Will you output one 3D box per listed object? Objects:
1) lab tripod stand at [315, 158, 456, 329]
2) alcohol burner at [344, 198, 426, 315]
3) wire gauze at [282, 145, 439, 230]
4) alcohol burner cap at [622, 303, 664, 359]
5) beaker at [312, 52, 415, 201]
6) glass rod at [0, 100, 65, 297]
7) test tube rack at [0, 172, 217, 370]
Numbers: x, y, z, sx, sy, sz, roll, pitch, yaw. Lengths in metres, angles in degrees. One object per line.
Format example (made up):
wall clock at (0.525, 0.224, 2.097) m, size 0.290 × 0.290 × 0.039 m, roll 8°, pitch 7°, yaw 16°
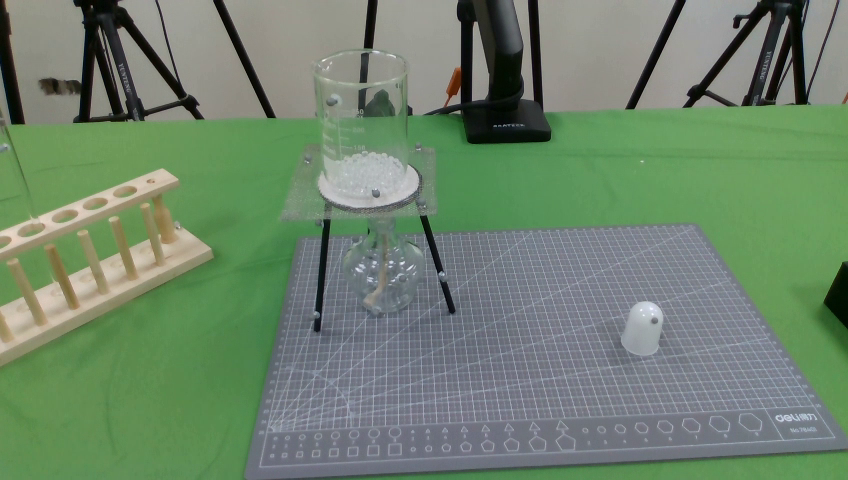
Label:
lab tripod stand at (-0.040, 0.003, 0.551) m, size 0.148 × 0.132 × 0.147 m, roll 1°, pitch 35°, yaw 0°
alcohol burner at (-0.036, 0.011, 0.557) m, size 0.078 × 0.120 × 0.077 m, roll 1°, pitch 38°, yaw 0°
wire gauze at (-0.049, -0.049, 0.510) m, size 0.121 × 0.011 × 0.124 m, roll 0°, pitch 38°, yaw 0°
alcohol burner cap at (0.192, 0.076, 0.525) m, size 0.034 × 0.048 × 0.033 m, roll 0°, pitch 37°, yaw 1°
beaker at (-0.049, -0.089, 0.483) m, size 0.083 × 0.101 × 0.074 m, roll 23°, pitch 41°, yaw 26°
glass rod at (-0.351, -0.033, 0.538) m, size 0.008 × 0.201 × 0.008 m, roll 0°, pitch 29°, yaw 0°
test tube rack at (-0.328, 0.027, 0.568) m, size 0.066 × 0.086 × 0.242 m, roll 29°, pitch 45°, yaw 34°
